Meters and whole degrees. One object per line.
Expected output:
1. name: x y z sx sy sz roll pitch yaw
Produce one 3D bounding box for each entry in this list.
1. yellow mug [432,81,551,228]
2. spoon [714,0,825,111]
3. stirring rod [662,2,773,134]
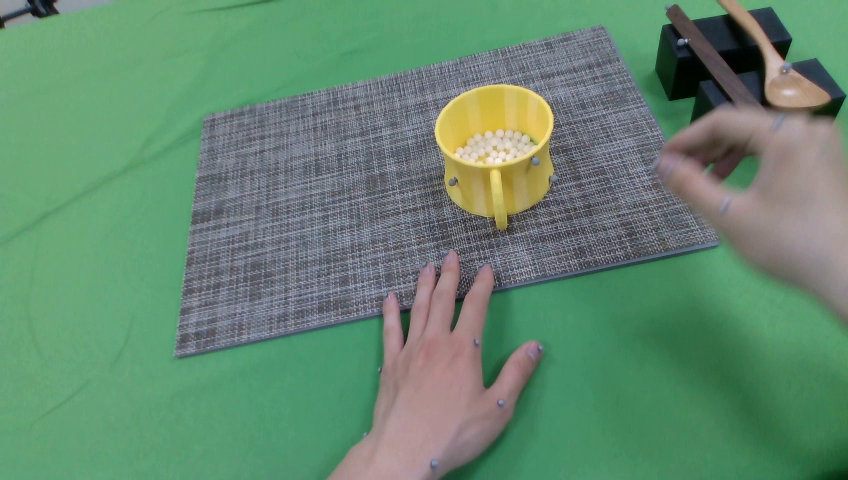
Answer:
1. yellow mug: 0.061 -0.069 0.521 0.100 0.064 0.129 -5 54 8
2. spoon: 0.286 -0.170 0.521 0.041 0.022 0.191 -12 51 11
3. stirring rod: 0.248 -0.153 0.521 0.014 0.006 0.174 -36 49 27
